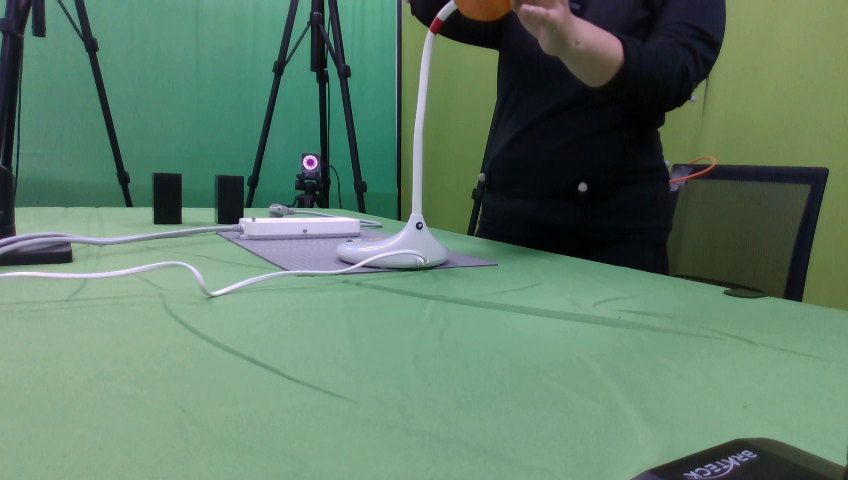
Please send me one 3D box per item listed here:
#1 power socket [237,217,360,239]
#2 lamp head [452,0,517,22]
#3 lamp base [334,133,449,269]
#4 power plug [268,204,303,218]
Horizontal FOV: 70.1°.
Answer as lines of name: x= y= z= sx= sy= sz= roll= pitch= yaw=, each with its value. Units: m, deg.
power socket: x=-0.221 y=-0.023 z=1.080 sx=0.228 sy=0.032 sz=0.072 roll=-2 pitch=8 yaw=-33
lamp head: x=0.069 y=-0.318 z=0.699 sx=0.112 sy=0.122 sz=0.112 roll=7 pitch=-1 yaw=1
lamp base: x=-0.034 y=-0.057 z=0.831 sx=0.161 sy=0.180 sz=0.178 roll=-3 pitch=12 yaw=-36
power plug: x=-0.327 y=-0.060 z=1.404 sx=0.073 sy=0.035 sz=0.052 roll=22 pitch=-14 yaw=-26
